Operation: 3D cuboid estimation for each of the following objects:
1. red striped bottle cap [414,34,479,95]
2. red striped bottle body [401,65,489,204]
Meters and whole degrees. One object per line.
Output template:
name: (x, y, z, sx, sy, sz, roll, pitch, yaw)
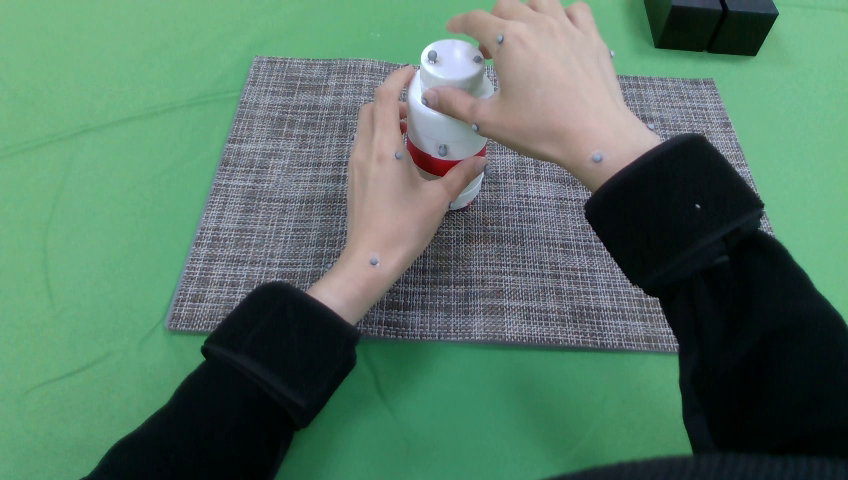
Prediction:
red striped bottle cap: (0.015, -0.120, 0.409, 0.044, 0.018, 0.044, 1, 55, -1)
red striped bottle body: (0.014, -0.087, 0.452, 0.063, 0.120, 0.062, 1, 53, -1)
